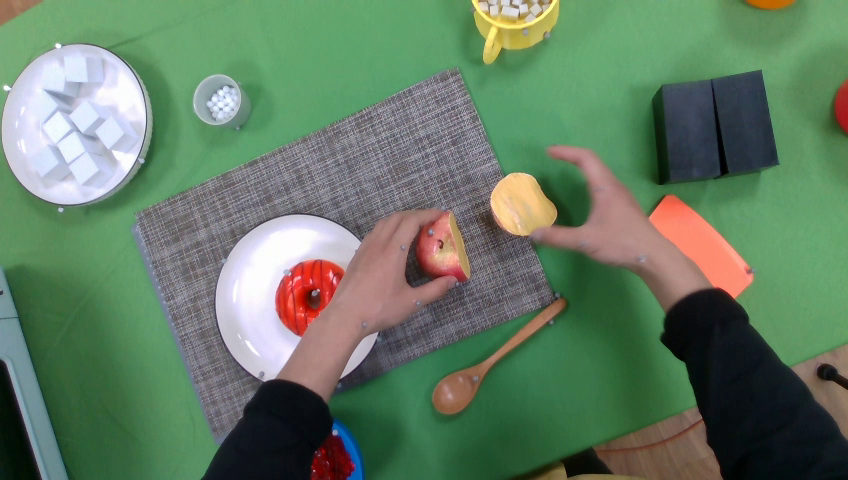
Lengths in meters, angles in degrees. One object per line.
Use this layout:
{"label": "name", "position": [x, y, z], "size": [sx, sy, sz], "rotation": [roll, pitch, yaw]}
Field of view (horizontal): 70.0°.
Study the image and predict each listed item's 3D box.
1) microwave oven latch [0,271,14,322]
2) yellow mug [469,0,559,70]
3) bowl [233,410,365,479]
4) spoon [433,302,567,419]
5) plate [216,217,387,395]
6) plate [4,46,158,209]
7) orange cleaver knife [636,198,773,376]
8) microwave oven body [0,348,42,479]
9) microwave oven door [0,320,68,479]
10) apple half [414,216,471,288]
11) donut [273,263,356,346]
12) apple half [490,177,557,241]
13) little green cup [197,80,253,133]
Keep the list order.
{"label": "microwave oven latch", "position": [-0.553, 0.067, 0.771], "size": [0.030, 0.029, 0.079], "rotation": [-19, 86, 7]}
{"label": "yellow mug", "position": [0.097, -0.254, 0.684], "size": [0.099, 0.064, 0.131], "rotation": [24, 93, 9]}
{"label": "bowl", "position": [-0.132, 0.264, 0.695], "size": [0.151, 0.077, 0.151], "rotation": [0, 88, 9]}
{"label": "spoon", "position": [0.088, 0.136, 0.693], "size": [0.194, 0.022, 0.041], "rotation": [-41, 68, 6]}
{"label": "plate", "position": [-0.143, 0.077, 0.720], "size": [0.209, 0.038, 0.209], "rotation": [0, 88, 9]}
{"label": "plate", "position": [-0.434, -0.142, 0.779], "size": [0.207, 0.039, 0.207], "rotation": [0, 88, 9]}
{"label": "orange cleaver knife", "position": [0.318, 0.049, 0.661], "size": [0.077, 0.012, 0.210], "rotation": [-38, 82, 1]}
{"label": "microwave oven body", "position": [-0.644, 0.280, 0.680], "size": [0.326, 0.261, 0.440], "rotation": [-21, 85, 7]}
{"label": "microwave oven door", "position": [-0.495, 0.267, 0.651], "size": [0.039, 0.244, 0.355], "rotation": [-21, 84, 8]}
{"label": "apple half", "position": [0.018, 0.017, 0.679], "size": [0.053, 0.075, 0.080], "rotation": [-16, 88, 12]}
{"label": "donut", "position": [-0.127, 0.074, 0.707], "size": [0.099, 0.048, 0.099], "rotation": [0, 90, 9]}
{"label": "apple half", "position": [0.106, -0.029, 0.684], "size": [0.081, 0.033, 0.080], "rotation": [6, 67, -14]}
{"label": "little green cup", "position": [-0.244, -0.162, 0.749], "size": [0.061, 0.039, 0.061], "rotation": [0, 88, 10]}
